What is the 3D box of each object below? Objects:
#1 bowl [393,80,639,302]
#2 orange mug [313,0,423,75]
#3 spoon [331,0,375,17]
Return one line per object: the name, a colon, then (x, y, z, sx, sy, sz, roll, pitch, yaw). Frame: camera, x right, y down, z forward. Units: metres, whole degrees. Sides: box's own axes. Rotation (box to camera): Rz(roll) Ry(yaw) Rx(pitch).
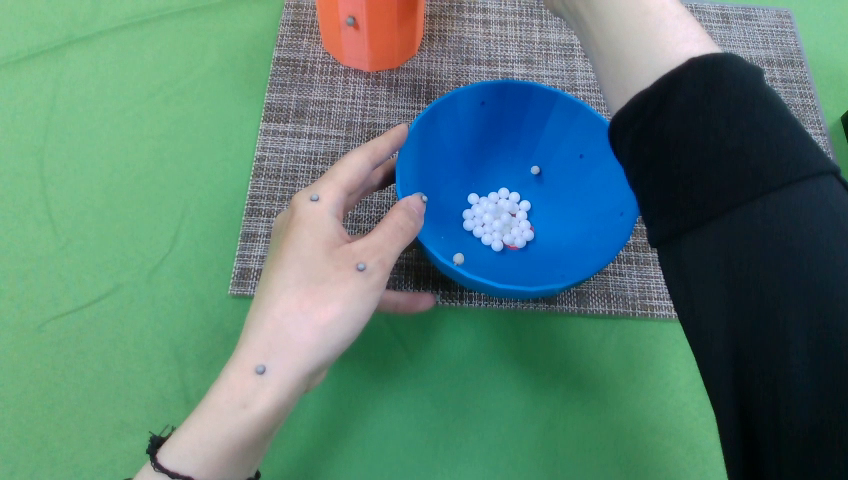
bowl: (0.054, -0.021, 0.399, 0.151, 0.077, 0.150, 2, 65, -3)
orange mug: (-0.039, -0.209, 0.472, 0.083, 0.101, 0.125, 14, 69, 4)
spoon: (-0.009, -0.214, 0.413, 0.022, 0.194, 0.041, 43, 47, -11)
